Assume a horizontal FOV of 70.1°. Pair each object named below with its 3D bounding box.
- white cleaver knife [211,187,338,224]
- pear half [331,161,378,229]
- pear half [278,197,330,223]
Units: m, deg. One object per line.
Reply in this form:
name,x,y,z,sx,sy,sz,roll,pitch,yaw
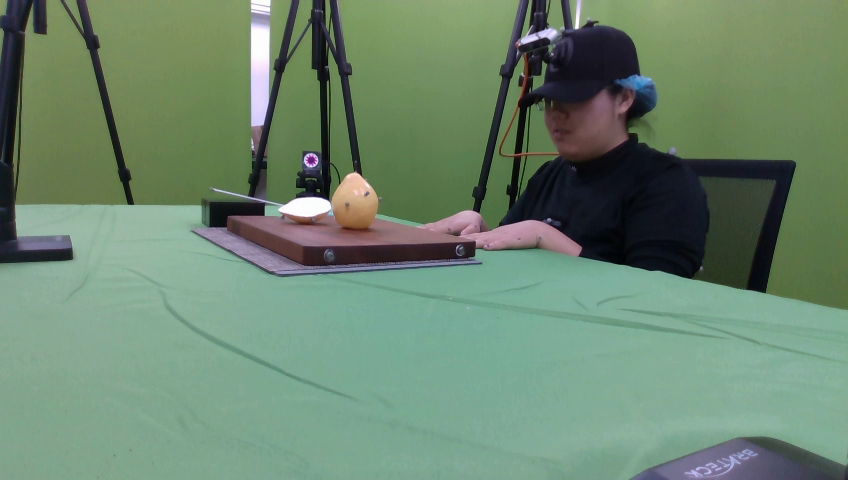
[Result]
white cleaver knife,-0.286,-0.073,1.222,0.288,0.021,0.065,15,3,-28
pear half,-0.105,-0.072,0.971,0.077,0.110,0.055,-9,14,-40
pear half,-0.203,-0.047,1.033,0.088,0.031,0.070,-13,27,-18
